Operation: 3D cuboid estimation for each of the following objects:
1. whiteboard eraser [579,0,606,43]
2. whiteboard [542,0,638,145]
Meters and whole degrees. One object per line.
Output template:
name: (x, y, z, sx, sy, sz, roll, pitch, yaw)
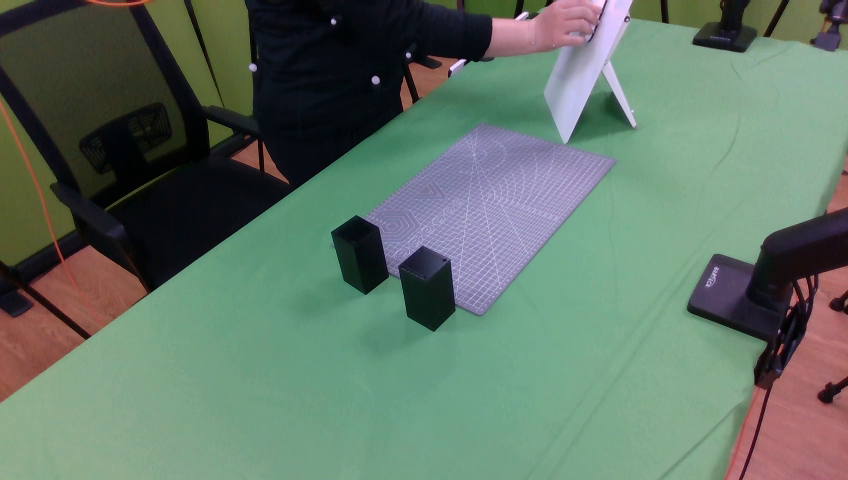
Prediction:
whiteboard eraser: (0.307, -0.410, 1.102, 0.019, 0.101, 0.041, 10, 33, -8)
whiteboard: (0.365, -0.351, 1.160, 0.144, 0.306, 0.216, 8, 39, -10)
